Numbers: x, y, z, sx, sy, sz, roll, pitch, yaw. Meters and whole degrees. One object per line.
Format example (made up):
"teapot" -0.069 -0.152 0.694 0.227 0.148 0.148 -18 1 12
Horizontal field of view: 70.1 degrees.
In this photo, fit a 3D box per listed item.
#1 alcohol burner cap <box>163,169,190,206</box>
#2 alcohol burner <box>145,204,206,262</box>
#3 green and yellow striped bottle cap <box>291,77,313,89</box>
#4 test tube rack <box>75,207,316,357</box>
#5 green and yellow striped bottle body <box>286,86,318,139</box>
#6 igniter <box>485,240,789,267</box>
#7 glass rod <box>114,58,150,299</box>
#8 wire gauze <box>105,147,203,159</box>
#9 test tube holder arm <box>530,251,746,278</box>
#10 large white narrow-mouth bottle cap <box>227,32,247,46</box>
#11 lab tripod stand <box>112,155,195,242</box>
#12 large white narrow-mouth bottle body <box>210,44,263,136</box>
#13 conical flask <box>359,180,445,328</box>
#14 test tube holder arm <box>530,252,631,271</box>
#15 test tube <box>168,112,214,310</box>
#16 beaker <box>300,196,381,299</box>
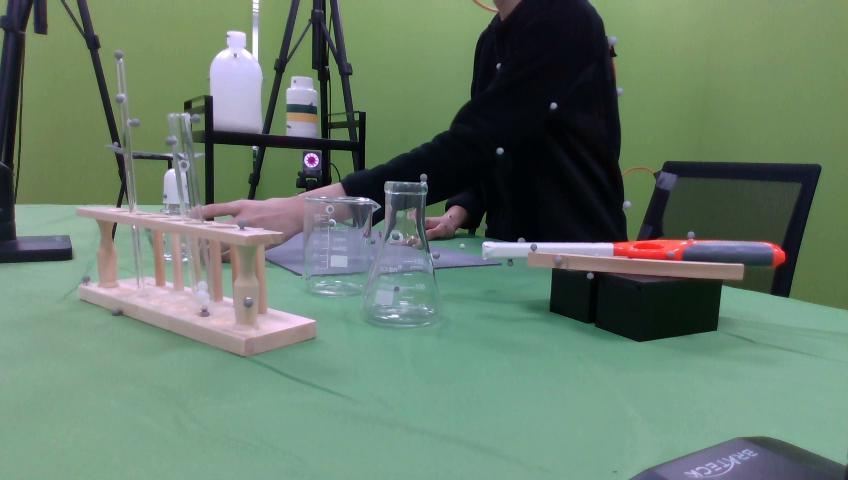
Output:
"alcohol burner cap" -0.320 -0.067 0.782 0.034 0.048 0.034 1 7 0
"alcohol burner" -0.321 -0.031 0.788 0.078 0.119 0.078 1 7 0
"green and yellow striped bottle cap" -0.250 -0.321 1.237 0.045 0.020 0.045 3 5 0
"test tube rack" -0.196 0.023 0.500 0.241 0.085 0.067 8 9 36
"green and yellow striped bottle body" -0.251 -0.270 1.245 0.063 0.119 0.063 2 7 0
"igniter" 0.197 0.012 0.585 0.276 0.025 0.057 1 5 11
"glass rod" -0.237 -0.044 0.492 0.008 0.199 0.008 1 15 0
"wire gauze" -0.408 -0.131 0.929 0.125 0.011 0.121 2 6 -11
"test tube holder arm" 0.182 0.022 0.523 0.178 0.015 0.013 3 6 12
"large white narrow-mouth bottle cap" -0.364 -0.390 1.180 0.038 0.024 0.037 3 8 0
"lab tripod stand" -0.405 -0.064 0.931 0.148 0.131 0.148 1 6 0
"large white narrow-mouth bottle body" -0.369 -0.305 1.194 0.102 0.194 0.102 3 8 0
"conical flask" -0.017 0.010 0.522 0.075 0.122 0.075 2 7 0
"test tube holder arm" 0.139 0.019 0.538 0.087 0.015 0.010 3 6 13
"test tube" -0.175 -0.020 0.455 0.017 0.150 0.017 -4 10 1
"beaker" -0.087 0.006 0.626 0.084 0.100 0.074 1 8 -17
